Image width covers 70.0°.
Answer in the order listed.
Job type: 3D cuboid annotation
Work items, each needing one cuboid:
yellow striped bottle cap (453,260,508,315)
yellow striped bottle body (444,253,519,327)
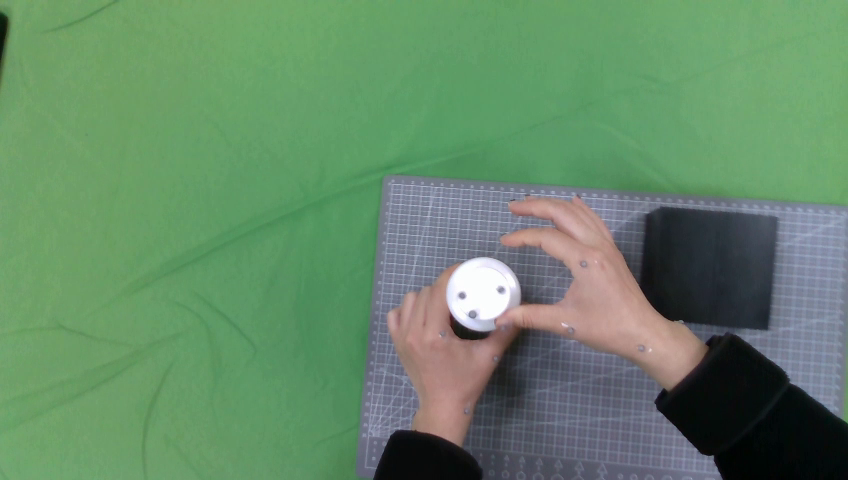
[{"bbox_3d":[0.045,0.038,0.484,0.044,0.019,0.044,0,89,5],"label":"yellow striped bottle cap"},{"bbox_3d":[0.051,0.044,0.536,0.063,0.120,0.062,0,87,6],"label":"yellow striped bottle body"}]
